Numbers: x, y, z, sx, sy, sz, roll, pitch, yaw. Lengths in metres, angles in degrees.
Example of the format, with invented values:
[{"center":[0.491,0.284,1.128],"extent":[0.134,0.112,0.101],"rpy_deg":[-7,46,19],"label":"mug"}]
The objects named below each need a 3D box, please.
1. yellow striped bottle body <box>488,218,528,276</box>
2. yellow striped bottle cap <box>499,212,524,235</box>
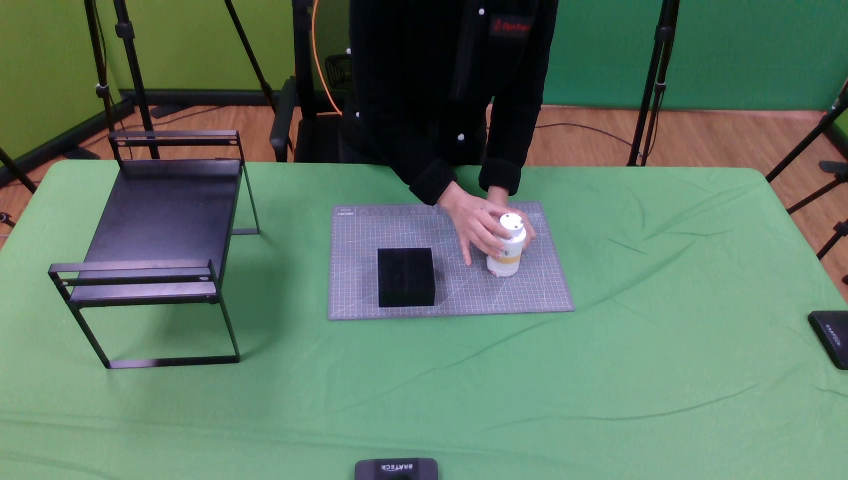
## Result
[{"center":[0.157,0.006,1.128],"extent":[0.063,0.121,0.062],"rpy_deg":[2,47,-2],"label":"yellow striped bottle body"},{"center":[0.158,-0.029,1.091],"extent":[0.044,0.019,0.044],"rpy_deg":[4,46,-3],"label":"yellow striped bottle cap"}]
